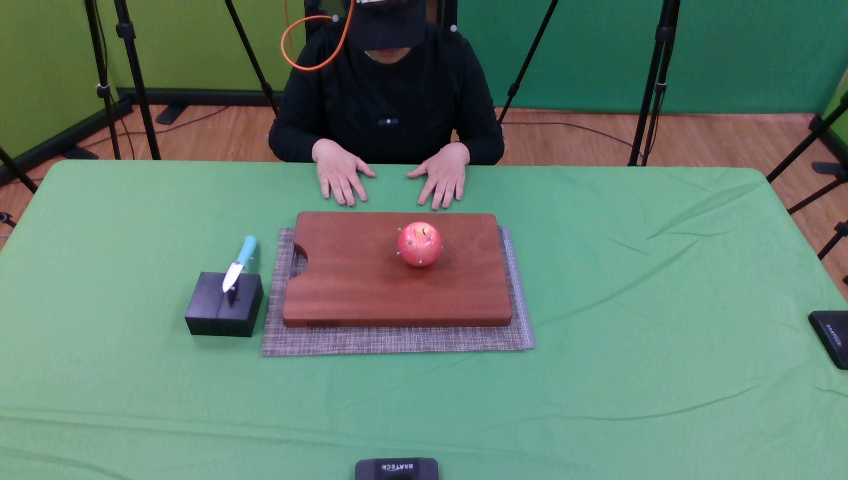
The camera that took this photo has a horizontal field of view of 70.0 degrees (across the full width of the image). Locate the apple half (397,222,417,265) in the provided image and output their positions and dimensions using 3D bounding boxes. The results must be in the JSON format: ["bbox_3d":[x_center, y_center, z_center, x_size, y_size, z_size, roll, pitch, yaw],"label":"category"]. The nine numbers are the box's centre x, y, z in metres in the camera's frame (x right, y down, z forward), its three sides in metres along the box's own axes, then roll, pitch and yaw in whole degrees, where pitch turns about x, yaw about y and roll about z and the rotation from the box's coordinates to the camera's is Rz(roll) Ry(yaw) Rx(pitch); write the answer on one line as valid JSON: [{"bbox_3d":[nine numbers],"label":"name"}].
[{"bbox_3d":[-0.033,0.010,1.110,0.033,0.081,0.081,0,46,-10],"label":"apple half"}]

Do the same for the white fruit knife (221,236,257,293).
[{"bbox_3d":[-0.333,0.043,1.094,0.027,0.016,0.206,2,27,-2],"label":"white fruit knife"}]

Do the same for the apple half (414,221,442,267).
[{"bbox_3d":[0.006,0.009,1.115,0.053,0.075,0.080,0,42,-9],"label":"apple half"}]
